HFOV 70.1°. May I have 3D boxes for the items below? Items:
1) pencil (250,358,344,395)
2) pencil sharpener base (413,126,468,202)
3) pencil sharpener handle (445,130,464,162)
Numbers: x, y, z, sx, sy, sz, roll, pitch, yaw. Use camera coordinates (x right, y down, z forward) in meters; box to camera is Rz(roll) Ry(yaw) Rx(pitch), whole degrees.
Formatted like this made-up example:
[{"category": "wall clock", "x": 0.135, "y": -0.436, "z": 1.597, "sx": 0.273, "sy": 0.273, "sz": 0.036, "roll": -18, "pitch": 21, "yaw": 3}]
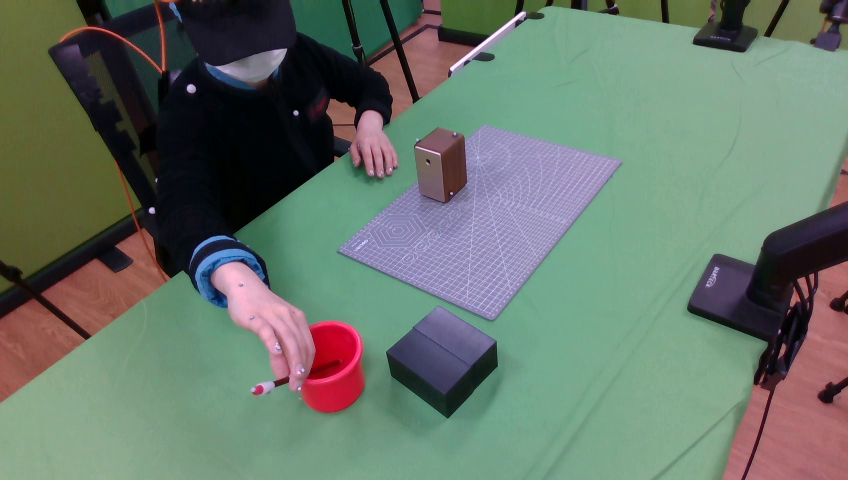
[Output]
[{"category": "pencil", "x": -0.141, "y": 0.155, "z": 0.707, "sx": 0.012, "sy": 0.012, "sz": 0.195, "roll": 10, "pitch": 3, "yaw": 20}, {"category": "pencil sharpener base", "x": 0.032, "y": -0.132, "z": 1.047, "sx": 0.061, "sy": 0.107, "sz": 0.077, "roll": 22, "pitch": 48, "yaw": 30}, {"category": "pencil sharpener handle", "x": 0.059, "y": -0.171, "z": 1.070, "sx": 0.036, "sy": 0.068, "sz": 0.031, "roll": 26, "pitch": 50, "yaw": 25}]
